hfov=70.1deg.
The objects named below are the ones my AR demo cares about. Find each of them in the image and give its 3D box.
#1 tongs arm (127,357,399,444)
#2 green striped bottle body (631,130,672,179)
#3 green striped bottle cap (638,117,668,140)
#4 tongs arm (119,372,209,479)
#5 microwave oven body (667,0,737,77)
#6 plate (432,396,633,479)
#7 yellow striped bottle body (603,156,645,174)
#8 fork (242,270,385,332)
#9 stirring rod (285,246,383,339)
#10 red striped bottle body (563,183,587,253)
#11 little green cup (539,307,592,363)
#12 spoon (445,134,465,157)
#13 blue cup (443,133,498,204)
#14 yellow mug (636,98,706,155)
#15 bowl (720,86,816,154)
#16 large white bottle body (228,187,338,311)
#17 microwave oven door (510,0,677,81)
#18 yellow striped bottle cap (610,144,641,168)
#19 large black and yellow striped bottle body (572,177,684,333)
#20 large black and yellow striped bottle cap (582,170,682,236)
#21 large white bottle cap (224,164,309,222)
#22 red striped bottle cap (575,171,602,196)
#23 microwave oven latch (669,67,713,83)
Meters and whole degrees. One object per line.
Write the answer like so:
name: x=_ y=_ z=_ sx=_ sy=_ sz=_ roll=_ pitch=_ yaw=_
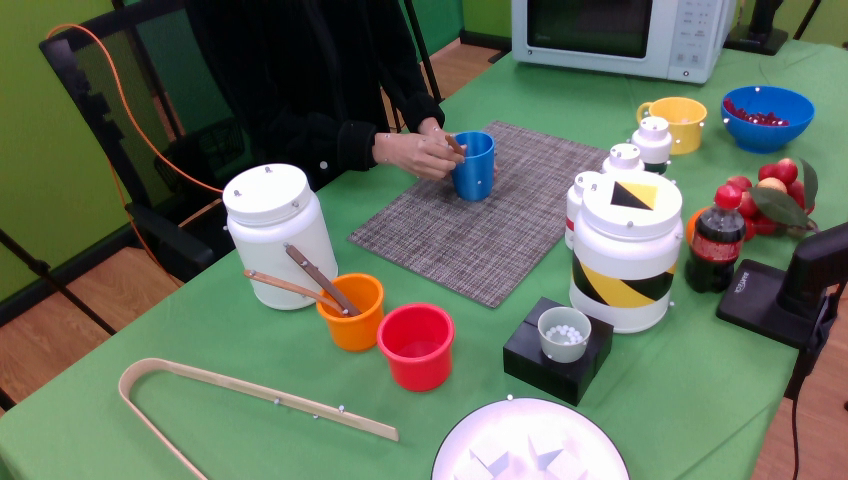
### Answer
tongs arm: x=-0.213 y=0.205 z=0.755 sx=0.382 sy=0.026 sz=0.051 roll=12 pitch=45 yaw=23
green striped bottle body: x=0.375 y=-0.140 z=1.007 sx=0.063 sy=0.120 sz=0.063 roll=-5 pitch=40 yaw=4
green striped bottle cap: x=0.369 y=-0.180 z=0.974 sx=0.044 sy=0.020 sz=0.044 roll=-4 pitch=41 yaw=4
tongs arm: x=-0.258 y=0.257 z=0.700 sx=0.384 sy=0.028 sz=0.028 roll=24 pitch=55 yaw=34
microwave oven body: x=0.462 y=-0.552 z=1.369 sx=0.439 sy=0.261 sz=0.326 roll=15 pitch=45 yaw=26
plate: x=0.112 y=0.261 z=0.634 sx=0.209 sy=0.038 sz=0.208 roll=-5 pitch=40 yaw=4
yellow striped bottle body: x=0.313 y=-0.089 z=0.956 sx=0.063 sy=0.121 sz=0.062 roll=-4 pitch=39 yaw=4
fork: x=-0.142 y=0.082 z=0.802 sx=0.209 sy=0.018 sz=0.028 roll=28 pitch=38 yaw=-26
stirring rod: x=-0.121 y=0.071 z=0.819 sx=0.176 sy=0.006 sz=0.014 roll=44 pitch=52 yaw=-6
red striped bottle body: x=0.246 y=-0.041 z=0.910 sx=0.063 sy=0.120 sz=0.062 roll=-2 pitch=38 yaw=2
little green cup: x=0.168 y=0.115 z=0.721 sx=0.061 sy=0.039 sz=0.061 roll=-4 pitch=42 yaw=4
spoon: x=0.065 y=-0.132 z=0.994 sx=0.041 sy=0.195 sz=0.021 roll=6 pitch=73 yaw=22
blue cup: x=0.083 y=-0.120 z=1.039 sx=0.092 sy=0.100 sz=0.092 roll=-2 pitch=36 yaw=2
yellow mug: x=0.453 y=-0.217 z=1.128 sx=0.100 sy=0.064 sz=0.129 roll=-34 pitch=46 yaw=-27
bowl: x=0.605 y=-0.206 z=1.081 sx=0.151 sy=0.077 sz=0.150 roll=-5 pitch=40 yaw=5
large white bottle body: x=-0.207 y=-0.002 z=0.883 sx=0.130 sy=0.185 sz=0.130 roll=-4 pitch=40 yaw=4
microwave oven door: x=0.354 y=-0.478 z=1.290 sx=0.353 sy=0.245 sz=0.039 roll=15 pitch=45 yaw=25
yellow striped bottle cap: x=0.307 y=-0.128 z=0.923 sx=0.044 sy=0.019 sz=0.044 roll=-6 pitch=40 yaw=5
large black and yellow striped bottle body: x=0.262 y=0.017 z=0.788 sx=0.131 sy=0.185 sz=0.130 roll=-5 pitch=40 yaw=4
large black and yellow striped bottle cap: x=0.252 y=-0.048 z=0.735 sx=0.115 sy=0.019 sz=0.114 roll=-3 pitch=40 yaw=3
large white bottle cap: x=-0.215 y=-0.066 z=0.829 sx=0.115 sy=0.018 sz=0.114 roll=-4 pitch=40 yaw=4
red striped bottle cap: x=0.242 y=-0.081 z=0.876 sx=0.044 sy=0.018 sz=0.044 roll=-5 pitch=44 yaw=5
microwave oven latch: x=0.556 y=-0.348 z=1.261 sx=0.078 sy=0.029 sz=0.030 roll=16 pitch=46 yaw=27
